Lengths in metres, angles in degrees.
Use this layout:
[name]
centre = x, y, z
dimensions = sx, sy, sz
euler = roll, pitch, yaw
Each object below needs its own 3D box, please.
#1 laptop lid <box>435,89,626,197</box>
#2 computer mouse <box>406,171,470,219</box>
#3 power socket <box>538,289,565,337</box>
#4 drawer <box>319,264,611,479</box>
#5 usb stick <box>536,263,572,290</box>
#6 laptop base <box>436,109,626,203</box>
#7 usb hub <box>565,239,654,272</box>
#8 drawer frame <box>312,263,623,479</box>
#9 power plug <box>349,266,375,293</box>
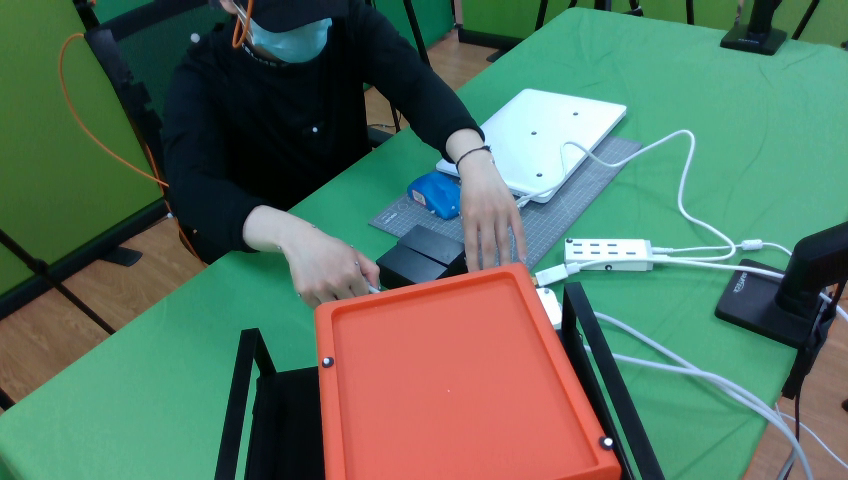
[laptop lid]
centre = 0.211, -0.202, 1.165
dimensions = 0.240, 0.013, 0.358
euler = 21, 47, 32
[computer mouse]
centre = 0.024, -0.082, 1.049
dimensions = 0.063, 0.041, 0.116
euler = -30, 50, -27
[power socket]
centre = 0.081, 0.112, 0.822
dimensions = 0.227, 0.033, 0.072
euler = -7, 41, -1
[drawer]
centre = 0.020, 0.129, 0.497
dimensions = 0.195, 0.073, 0.210
euler = -11, 41, -5
[usb stick]
centre = 0.182, 0.057, 0.875
dimensions = 0.059, 0.021, 0.027
euler = -31, 0, -6
[laptop base]
centre = 0.214, -0.192, 1.172
dimensions = 0.233, 0.023, 0.355
euler = 19, 46, 32
[usb hub]
centre = 0.275, 0.022, 0.906
dimensions = 0.125, 0.025, 0.049
euler = 1, 41, 9
[drawer frame]
centre = 0.021, 0.130, 0.494
dimensions = 0.202, 0.083, 0.212
euler = -11, 41, -6
[power plug]
centre = -0.084, 0.067, 0.838
dimensions = 0.035, 0.053, 0.072
euler = -16, 49, 3
